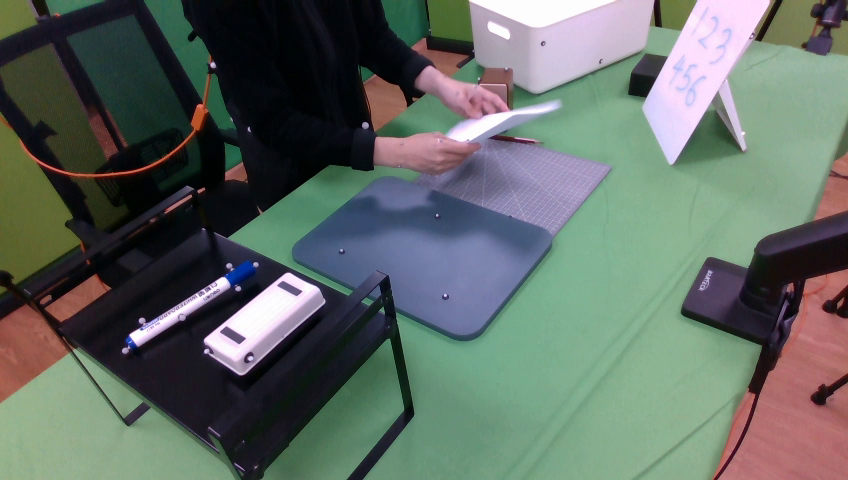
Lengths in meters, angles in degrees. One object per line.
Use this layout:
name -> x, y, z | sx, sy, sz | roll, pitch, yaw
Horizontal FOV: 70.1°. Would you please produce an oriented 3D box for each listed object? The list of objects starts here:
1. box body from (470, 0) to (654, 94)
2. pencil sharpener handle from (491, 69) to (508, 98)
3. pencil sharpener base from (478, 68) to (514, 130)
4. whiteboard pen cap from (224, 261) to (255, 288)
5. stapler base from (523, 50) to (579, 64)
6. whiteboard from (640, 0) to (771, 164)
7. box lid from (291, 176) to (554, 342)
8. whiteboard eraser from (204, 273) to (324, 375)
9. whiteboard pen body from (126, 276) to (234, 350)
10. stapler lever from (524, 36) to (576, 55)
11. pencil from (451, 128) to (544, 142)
box body -> 0.319, -0.498, 1.405 | 0.365, 0.161, 0.252 | -26, 43, -21
pencil sharpener handle -> 0.155, -0.330, 1.254 | 0.036, 0.068, 0.030 | 18, 44, 3
pencil sharpener base -> 0.148, -0.286, 1.225 | 0.061, 0.107, 0.076 | 5, 42, 15
whiteboard pen cap -> -0.207, 0.039, 0.677 | 0.033, 0.018, 0.018 | -36, 47, -18
stapler base -> 0.301, -0.437, 1.434 | 0.130, 0.024, 0.041 | 5, 40, 16
whiteboard -> 0.543, -0.299, 1.076 | 0.144, 0.305, 0.216 | 12, 40, -7
box lid -> -0.005, 0.011, 0.972 | 0.368, 0.015, 0.264 | 21, 49, 30
whiteboard eraser -> -0.157, 0.084, 0.605 | 0.055, 0.042, 0.113 | 24, 49, 30
whiteboard pen body -> -0.251, 0.070, 0.649 | 0.141, 0.017, 0.017 | -36, 48, -26
stapler lever -> 0.296, -0.456, 1.418 | 0.117, 0.040, 0.027 | 4, 40, 17
pencil -> 0.145, -0.208, 1.204 | 0.193, 0.012, 0.012 | 10, 43, 21
